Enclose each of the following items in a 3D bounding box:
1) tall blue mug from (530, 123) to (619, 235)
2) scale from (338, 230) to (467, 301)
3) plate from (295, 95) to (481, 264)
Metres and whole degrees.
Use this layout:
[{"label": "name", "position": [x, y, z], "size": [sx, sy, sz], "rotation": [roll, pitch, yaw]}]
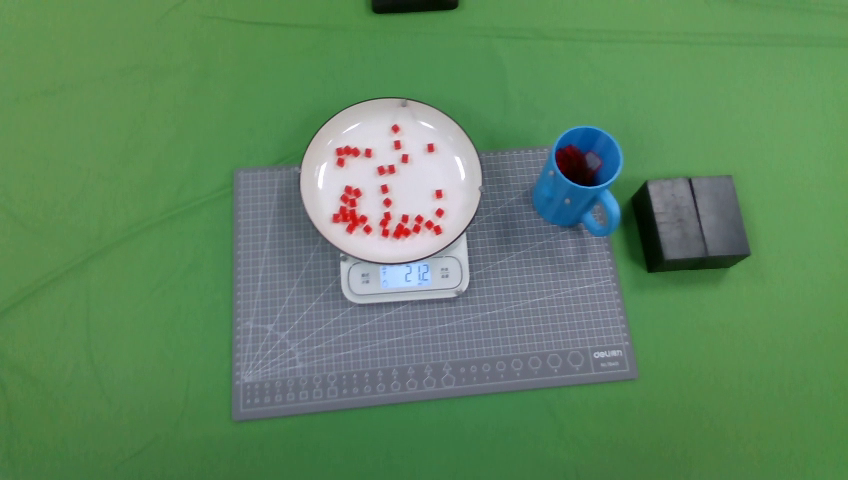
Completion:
[{"label": "tall blue mug", "position": [0.183, -0.066, 0.698], "size": [0.107, 0.108, 0.077], "rotation": [32, 72, 9]}, {"label": "scale", "position": [-0.029, -0.031, 0.719], "size": [0.149, 0.032, 0.199], "rotation": [-3, 72, -3]}, {"label": "plate", "position": [-0.040, -0.067, 0.696], "size": [0.209, 0.038, 0.207], "rotation": [1, 71, -3]}]
